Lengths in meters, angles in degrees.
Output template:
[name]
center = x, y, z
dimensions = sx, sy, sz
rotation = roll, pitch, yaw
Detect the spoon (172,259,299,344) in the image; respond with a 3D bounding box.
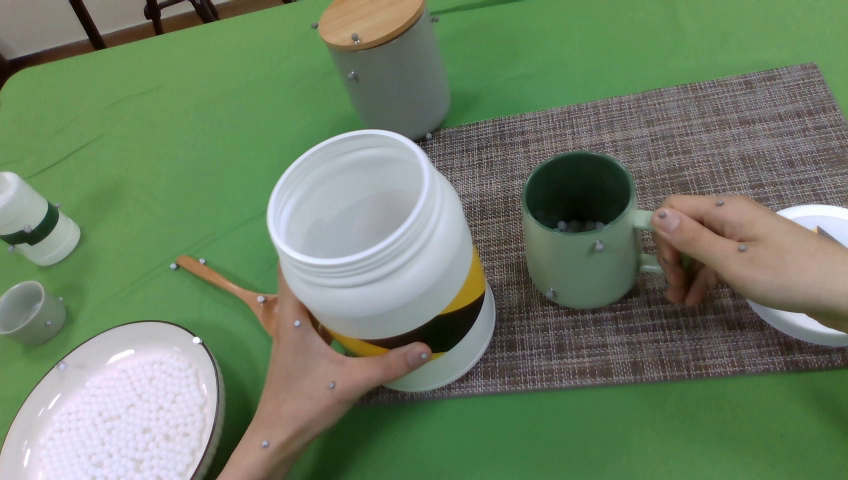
[spoon]
center = -0.188, 0.050, 0.587
dimensions = 0.192, 0.022, 0.041
rotation = 22, 81, 29

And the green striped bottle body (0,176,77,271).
[green striped bottle body]
center = -0.446, -0.022, 0.658
dimensions = 0.063, 0.120, 0.062
rotation = -9, 54, 12

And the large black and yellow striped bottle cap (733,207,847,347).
[large black and yellow striped bottle cap]
center = 0.295, 0.025, 0.452
dimensions = 0.115, 0.019, 0.114
rotation = -9, 53, 13

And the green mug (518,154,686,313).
[green mug]
center = 0.134, 0.000, 0.465
dimensions = 0.124, 0.106, 0.092
rotation = 10, 59, 24

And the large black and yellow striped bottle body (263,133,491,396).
[large black and yellow striped bottle body]
center = -0.028, 0.023, 0.448
dimensions = 0.130, 0.186, 0.129
rotation = -8, 54, 12

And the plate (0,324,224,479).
[plate]
center = -0.262, 0.172, 0.515
dimensions = 0.209, 0.038, 0.207
rotation = -8, 54, 12

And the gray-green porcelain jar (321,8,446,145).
[gray-green porcelain jar]
center = -0.037, -0.169, 0.627
dimensions = 0.106, 0.128, 0.105
rotation = -9, 50, 11

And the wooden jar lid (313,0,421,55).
[wooden jar lid]
center = -0.053, -0.209, 0.580
dimensions = 0.108, 0.021, 0.107
rotation = -11, 52, 14

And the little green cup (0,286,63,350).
[little green cup]
center = -0.409, 0.083, 0.624
dimensions = 0.061, 0.039, 0.061
rotation = -9, 53, 12
